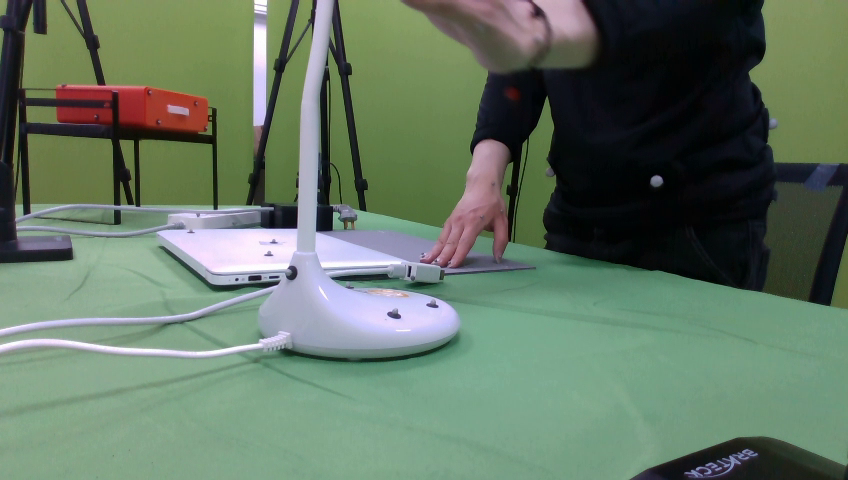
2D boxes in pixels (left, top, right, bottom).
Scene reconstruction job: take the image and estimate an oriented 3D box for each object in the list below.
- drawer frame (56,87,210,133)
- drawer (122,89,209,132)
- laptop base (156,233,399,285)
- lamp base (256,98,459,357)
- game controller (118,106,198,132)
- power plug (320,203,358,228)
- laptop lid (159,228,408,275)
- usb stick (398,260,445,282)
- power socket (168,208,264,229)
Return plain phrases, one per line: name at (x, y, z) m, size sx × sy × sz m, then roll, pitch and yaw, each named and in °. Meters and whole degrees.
drawer frame at (-0.598, -0.269, 1.261) m, size 0.213 × 0.082 × 0.202 m, roll 4°, pitch 8°, yaw 14°
drawer at (-0.595, -0.268, 1.263) m, size 0.211 × 0.073 × 0.195 m, roll 4°, pitch 8°, yaw 15°
laptop base at (-0.204, 0.019, 0.806) m, size 0.237 × 0.023 × 0.352 m, roll 0°, pitch 7°, yaw -33°
lamp base at (-0.055, -0.013, 0.463) m, size 0.160 × 0.180 × 0.180 m, roll 6°, pitch 11°, yaw 27°
game controller at (-0.554, -0.252, 1.255) m, size 0.097 × 0.051 × 0.155 m, roll 7°, pitch 11°, yaw 19°
power plug at (-0.169, -0.046, 1.209) m, size 0.073 × 0.052 × 0.035 m, roll -5°, pitch -16°, yaw -7°
laptop lid at (-0.201, 0.007, 0.806) m, size 0.243 × 0.013 × 0.355 m, roll -1°, pitch 8°, yaw -31°
usb stick at (-0.001, 0.036, 0.696) m, size 0.027 × 0.021 × 0.059 m, roll 8°, pitch 0°, yaw 43°
power socket at (-0.381, -0.038, 1.128) m, size 0.072 × 0.032 × 0.227 m, roll 4°, pitch 8°, yaw 16°
